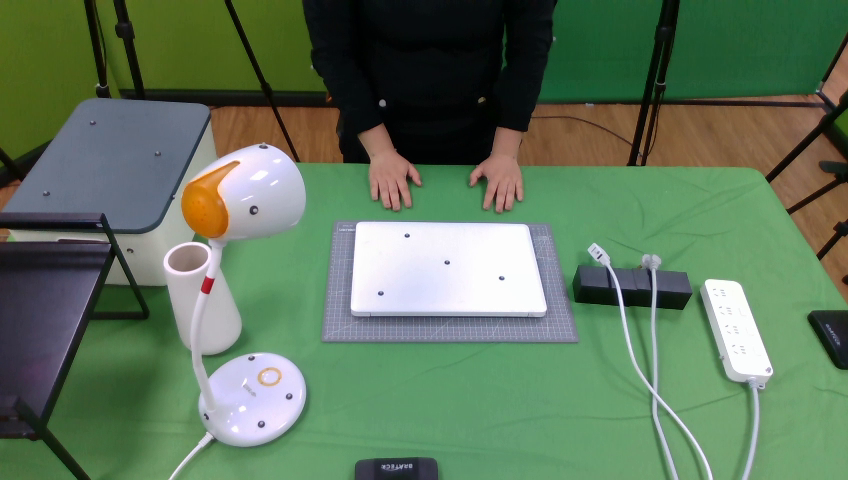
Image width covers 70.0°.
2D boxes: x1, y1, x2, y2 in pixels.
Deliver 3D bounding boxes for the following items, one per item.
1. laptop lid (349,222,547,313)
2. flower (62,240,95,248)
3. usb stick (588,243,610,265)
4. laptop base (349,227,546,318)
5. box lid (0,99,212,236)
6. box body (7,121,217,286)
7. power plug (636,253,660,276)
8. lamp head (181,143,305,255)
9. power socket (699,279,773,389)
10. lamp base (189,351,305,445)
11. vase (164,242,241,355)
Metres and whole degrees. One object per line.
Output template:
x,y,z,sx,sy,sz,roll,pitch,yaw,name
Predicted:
0.041,0.045,1.143,0.357,0.013,0.240,2,44,-3,laptop lid
-0.557,-0.053,1.195,0.044,0.038,0.361,47,54,1,flower
0.336,0.024,1.172,0.027,0.021,0.059,33,16,-13,usb stick
0.040,0.056,1.149,0.355,0.023,0.234,1,43,-4,laptop base
-0.556,-0.143,1.090,0.263,0.015,0.369,2,46,-1,box lid
-0.560,-0.092,1.145,0.254,0.161,0.361,3,46,-2,box body
0.415,0.050,1.139,0.035,0.053,0.072,45,49,10,power plug
-0.216,-0.044,0.697,0.112,0.113,0.123,23,31,17,lamp head
0.551,0.157,1.081,0.072,0.033,0.225,5,46,1,power socket
-0.268,0.196,0.876,0.160,0.181,0.179,26,52,20,lamp base
-0.349,0.096,0.954,0.098,0.201,0.097,3,47,-3,vase
